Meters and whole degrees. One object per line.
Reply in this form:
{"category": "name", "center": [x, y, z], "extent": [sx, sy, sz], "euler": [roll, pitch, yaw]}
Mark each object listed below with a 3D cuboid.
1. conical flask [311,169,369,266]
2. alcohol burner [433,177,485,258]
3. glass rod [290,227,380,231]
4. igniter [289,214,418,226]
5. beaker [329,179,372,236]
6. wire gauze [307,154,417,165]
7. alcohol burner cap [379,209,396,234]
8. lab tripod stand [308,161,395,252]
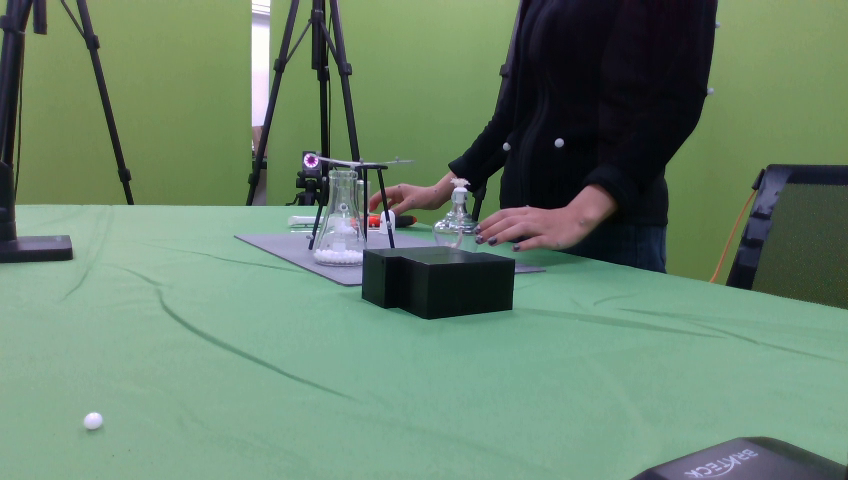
{"category": "conical flask", "center": [-0.107, -0.031, 0.786], "extent": [0.075, 0.122, 0.075], "euler": [2, 8, 0]}
{"category": "alcohol burner", "center": [0.052, -0.033, 0.894], "extent": [0.078, 0.119, 0.078], "euler": [2, 9, 0]}
{"category": "glass rod", "center": [-0.161, -0.023, 1.178], "extent": [0.201, 0.008, 0.008], "euler": [-2, 8, -28]}
{"category": "igniter", "center": [-0.141, -0.042, 1.258], "extent": [0.278, 0.025, 0.057], "euler": [-1, -3, -29]}
{"category": "beaker", "center": [-0.137, -0.061, 1.101], "extent": [0.084, 0.100, 0.074], "euler": [4, 7, 20]}
{"category": "wire gauze", "center": [-0.094, -0.120, 0.913], "extent": [0.122, 0.011, 0.124], "euler": [-5, 11, -45]}
{"category": "alcohol burner cap", "center": [-0.069, -0.036, 1.154], "extent": [0.034, 0.048, 0.034], "euler": [2, 7, 0]}
{"category": "lab tripod stand", "center": [-0.098, -0.053, 0.919], "extent": [0.148, 0.131, 0.148], "euler": [4, 7, 0]}
